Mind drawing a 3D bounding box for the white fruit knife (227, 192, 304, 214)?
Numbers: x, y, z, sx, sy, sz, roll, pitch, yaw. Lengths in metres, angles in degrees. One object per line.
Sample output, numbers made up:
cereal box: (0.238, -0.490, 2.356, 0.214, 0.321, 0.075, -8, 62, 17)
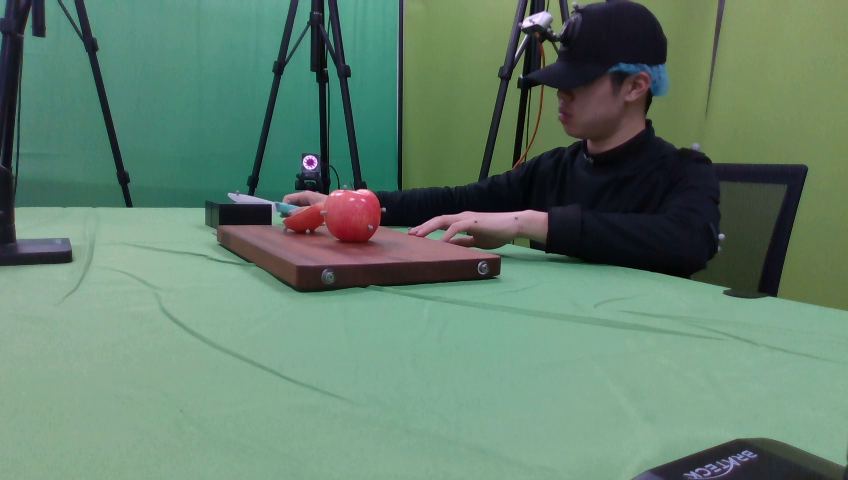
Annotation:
white fruit knife: (-0.302, -0.069, 1.242, 0.208, 0.027, 0.016, 14, 2, -37)

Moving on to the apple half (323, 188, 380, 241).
apple half: (-0.094, -0.034, 0.840, 0.081, 0.074, 0.053, 1, 10, -38)

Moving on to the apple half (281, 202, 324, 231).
apple half: (-0.175, -0.033, 0.927, 0.081, 0.033, 0.081, -20, 0, 0)
